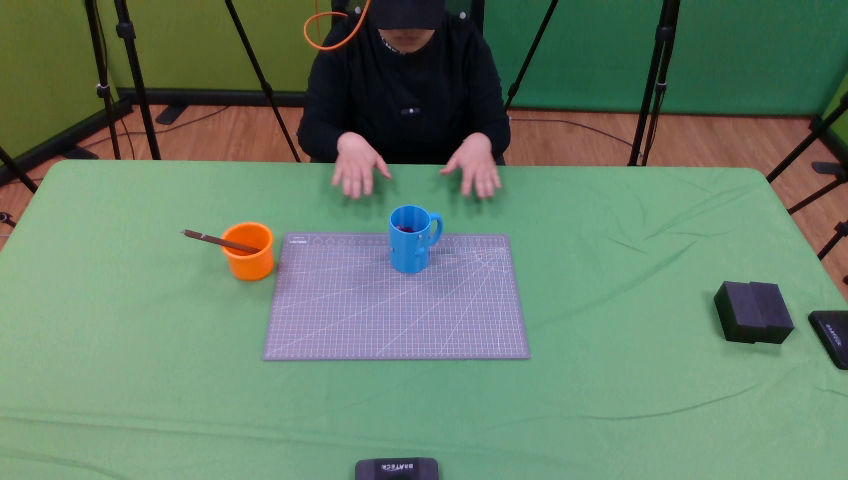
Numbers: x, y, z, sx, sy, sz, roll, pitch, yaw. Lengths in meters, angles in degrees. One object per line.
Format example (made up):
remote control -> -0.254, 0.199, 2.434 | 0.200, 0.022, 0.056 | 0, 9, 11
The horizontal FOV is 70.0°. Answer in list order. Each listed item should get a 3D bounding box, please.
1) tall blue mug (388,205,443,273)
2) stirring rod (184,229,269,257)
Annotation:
tall blue mug -> -0.021, -0.010, 1.143 | 0.077, 0.108, 0.107 | 23, 49, 18
stirring rod -> -0.349, 0.007, 1.083 | 0.177, 0.006, 0.014 | 21, 30, -50
